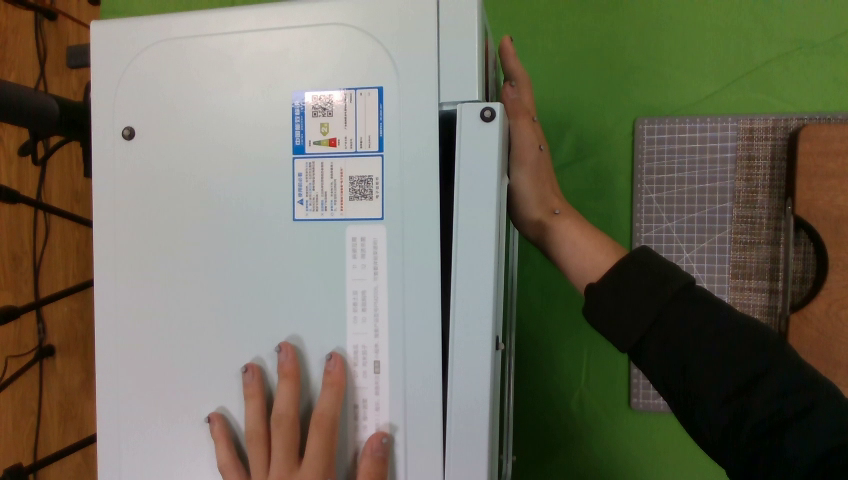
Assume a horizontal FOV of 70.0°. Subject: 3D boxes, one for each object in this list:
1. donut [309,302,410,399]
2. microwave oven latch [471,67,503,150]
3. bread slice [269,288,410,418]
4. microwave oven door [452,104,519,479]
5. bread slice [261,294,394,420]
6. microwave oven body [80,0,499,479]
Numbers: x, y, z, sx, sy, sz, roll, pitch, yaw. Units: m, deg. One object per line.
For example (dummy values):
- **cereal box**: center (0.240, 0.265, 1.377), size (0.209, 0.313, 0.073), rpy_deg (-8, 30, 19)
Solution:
- **donut**: center (-0.062, 0.105, 0.580), size (0.099, 0.048, 0.099), rpy_deg (0, 105, 2)
- **microwave oven latch**: center (0.066, -0.133, 0.619), size (0.030, 0.029, 0.079), rpy_deg (-2, 91, 11)
- **bread slice**: center (-0.092, 0.109, 0.607), size (0.131, 0.019, 0.105), rpy_deg (20, 96, 8)
- **microwave oven door**: center (0.054, 0.085, 0.520), size (0.039, 0.244, 0.355), rpy_deg (1, 91, 12)
- **bread slice**: center (-0.086, 0.103, 0.538), size (0.134, 0.018, 0.107), rpy_deg (-4, 91, 23)
- **microwave oven body**: center (-0.097, 0.045, 0.554), size (0.325, 0.260, 0.441), rpy_deg (-1, 91, 11)
